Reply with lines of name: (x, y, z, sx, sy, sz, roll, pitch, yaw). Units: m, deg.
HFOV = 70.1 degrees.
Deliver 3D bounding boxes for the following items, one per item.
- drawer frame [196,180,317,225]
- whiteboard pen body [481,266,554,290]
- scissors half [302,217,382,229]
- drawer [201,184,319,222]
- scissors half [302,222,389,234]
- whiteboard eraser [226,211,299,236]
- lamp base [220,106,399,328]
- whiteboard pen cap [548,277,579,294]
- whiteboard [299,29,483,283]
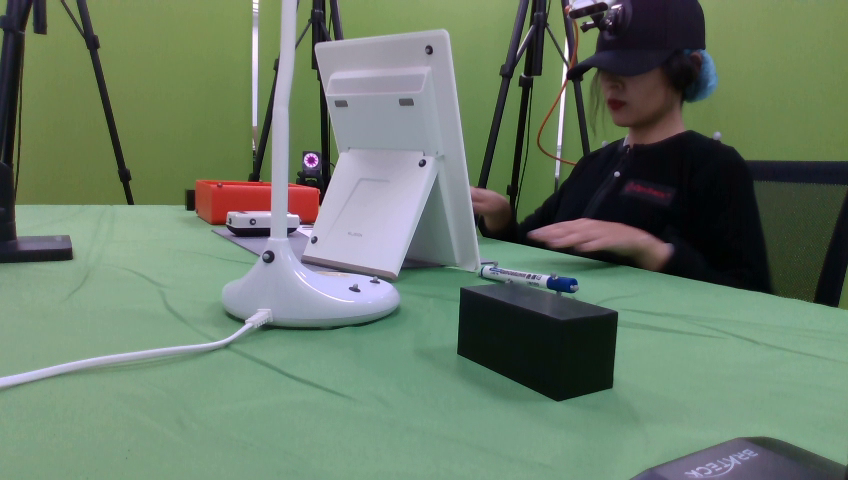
drawer frame: (-0.359, -0.083, 1.292, 0.215, 0.082, 0.200, -2, 10, -30)
whiteboard pen body: (0.115, 0.044, 0.695, 0.017, 0.017, 0.140, -3, 6, -35)
scissors half: (-0.161, -0.031, 1.198, 0.176, 0.013, 0.040, -8, 23, -39)
drawer: (-0.353, -0.082, 1.296, 0.213, 0.073, 0.193, -2, 9, -28)
scissors half: (-0.152, -0.023, 1.182, 0.176, 0.013, 0.040, 0, 24, -21)
whiteboard eraser: (-0.276, -0.029, 1.035, 0.113, 0.042, 0.055, -3, 7, -35)
lamp base: (-0.101, -0.023, 0.531, 0.160, 0.180, 0.179, 4, 10, 10)
whiteboard pen cap: (0.148, 0.049, 0.647, 0.018, 0.018, 0.033, -3, 3, -36)
whiteboard: (-0.074, -0.082, 0.742, 0.216, 0.305, 0.144, 9, 29, 38)
